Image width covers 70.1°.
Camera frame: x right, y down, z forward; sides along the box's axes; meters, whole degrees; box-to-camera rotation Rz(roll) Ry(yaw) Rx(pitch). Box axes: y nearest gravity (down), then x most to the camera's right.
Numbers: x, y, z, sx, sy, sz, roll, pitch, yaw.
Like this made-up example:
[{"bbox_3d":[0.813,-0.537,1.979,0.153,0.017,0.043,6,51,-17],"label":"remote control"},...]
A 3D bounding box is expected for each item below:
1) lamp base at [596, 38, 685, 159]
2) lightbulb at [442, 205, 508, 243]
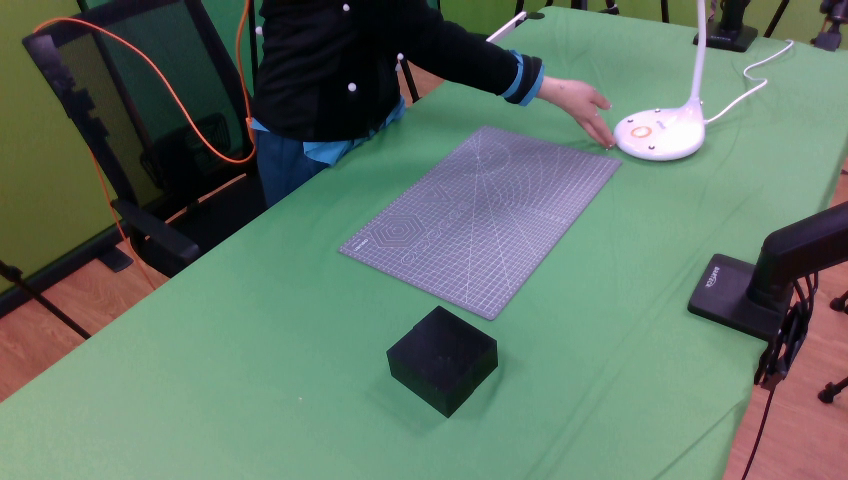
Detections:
[{"bbox_3d":[0.408,-0.264,1.094,0.180,0.181,0.159,-29,45,-27],"label":"lamp base"},{"bbox_3d":[0.081,-0.019,0.955,0.107,0.059,0.059,18,44,5],"label":"lightbulb"}]
